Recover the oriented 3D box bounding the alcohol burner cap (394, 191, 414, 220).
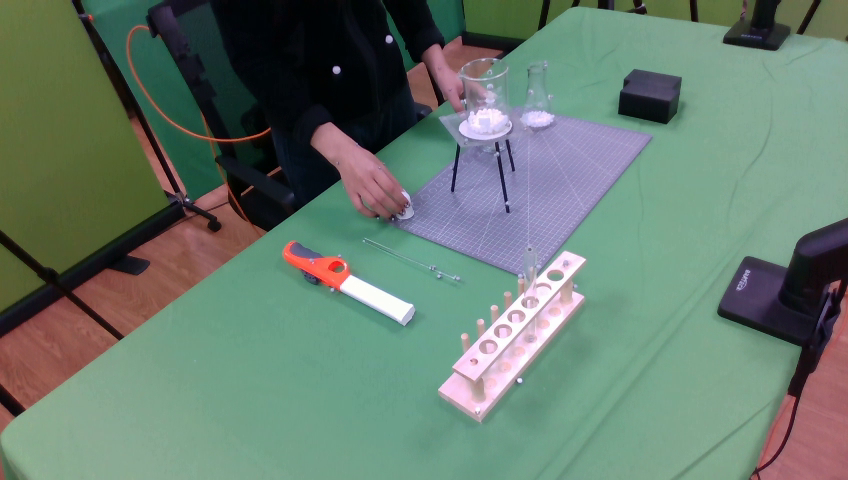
[{"bbox_3d":[-0.036,-0.060,1.038,0.034,0.048,0.033,-5,33,4],"label":"alcohol burner cap"}]

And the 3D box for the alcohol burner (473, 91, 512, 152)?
[{"bbox_3d":[0.132,-0.229,1.155,0.078,0.119,0.077,-5,38,4],"label":"alcohol burner"}]

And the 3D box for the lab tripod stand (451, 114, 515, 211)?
[{"bbox_3d":[0.113,-0.140,1.037,0.148,0.132,0.147,-6,38,5],"label":"lab tripod stand"}]

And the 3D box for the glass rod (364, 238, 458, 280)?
[{"bbox_3d":[-0.026,0.029,0.966,0.198,0.008,0.008,22,49,35],"label":"glass rod"}]

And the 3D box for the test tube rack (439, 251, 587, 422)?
[{"bbox_3d":[0.118,0.111,0.780,0.066,0.085,0.243,26,51,35],"label":"test tube rack"}]

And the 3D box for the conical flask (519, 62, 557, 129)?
[{"bbox_3d":[0.225,-0.288,1.198,0.075,0.122,0.075,-6,40,5],"label":"conical flask"}]

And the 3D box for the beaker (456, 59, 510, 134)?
[{"bbox_3d":[0.098,-0.226,0.964,0.084,0.101,0.073,-7,39,4],"label":"beaker"}]

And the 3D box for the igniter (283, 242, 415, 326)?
[{"bbox_3d":[-0.126,0.062,0.931,0.274,0.025,0.057,24,61,33],"label":"igniter"}]

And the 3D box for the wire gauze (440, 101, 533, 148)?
[{"bbox_3d":[0.100,-0.189,0.995,0.125,0.011,0.120,-16,37,-6],"label":"wire gauze"}]

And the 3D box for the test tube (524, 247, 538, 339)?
[{"bbox_3d":[0.133,0.070,0.749,0.017,0.151,0.017,-5,38,4],"label":"test tube"}]
